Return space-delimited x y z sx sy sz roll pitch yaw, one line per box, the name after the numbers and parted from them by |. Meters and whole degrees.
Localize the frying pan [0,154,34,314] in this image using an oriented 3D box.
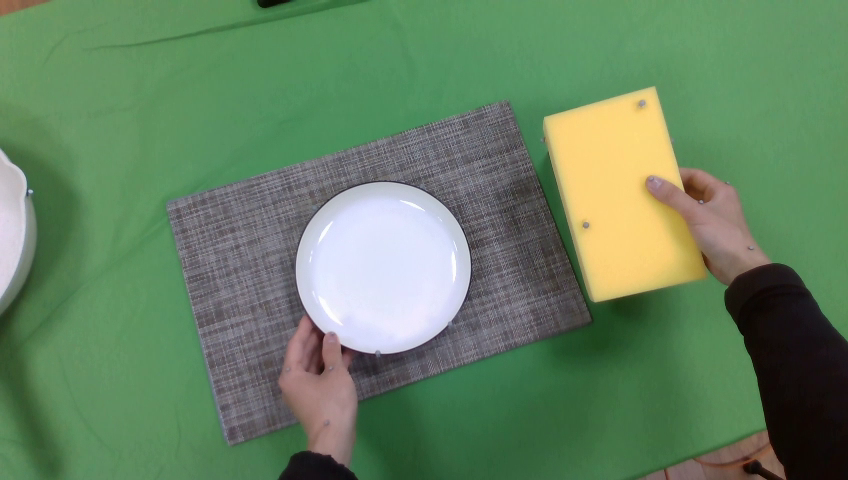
-0.549 0.090 0.671 0.307 0.103 0.484 -25 72 -4 | frying pan

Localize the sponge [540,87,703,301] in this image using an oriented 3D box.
0.211 -0.047 0.663 0.118 0.061 0.206 -16 87 8 | sponge

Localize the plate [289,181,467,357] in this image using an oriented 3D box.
-0.053 0.035 0.720 0.208 0.039 0.206 0 79 -1 | plate
